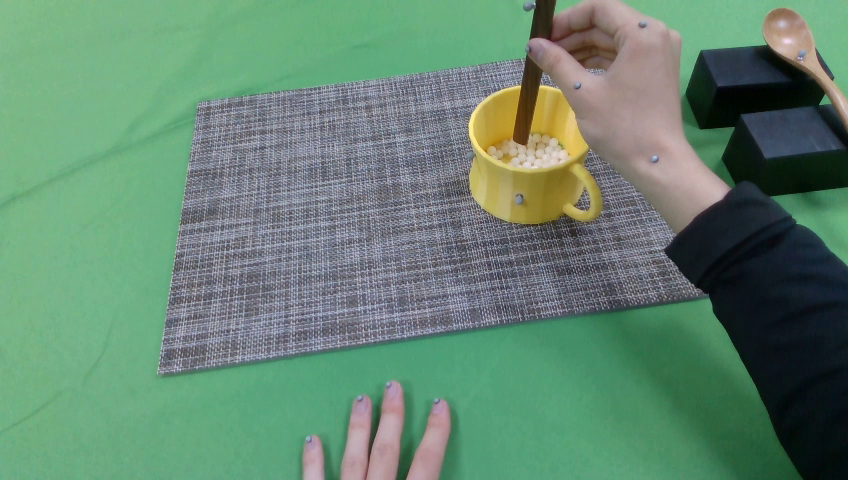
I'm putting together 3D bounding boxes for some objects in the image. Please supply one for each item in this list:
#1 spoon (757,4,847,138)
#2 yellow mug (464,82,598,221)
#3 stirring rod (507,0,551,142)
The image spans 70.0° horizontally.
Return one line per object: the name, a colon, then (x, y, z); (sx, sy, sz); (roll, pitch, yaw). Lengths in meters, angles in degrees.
spoon: (0.324, -0.125, 0.493); (0.041, 0.022, 0.192); (-8, 57, -2)
yellow mug: (0.093, -0.065, 0.497); (0.100, 0.064, 0.129); (-34, 60, -19)
stirring rod: (0.076, -0.133, 0.436); (0.014, 0.177, 0.006); (24, 60, 15)
